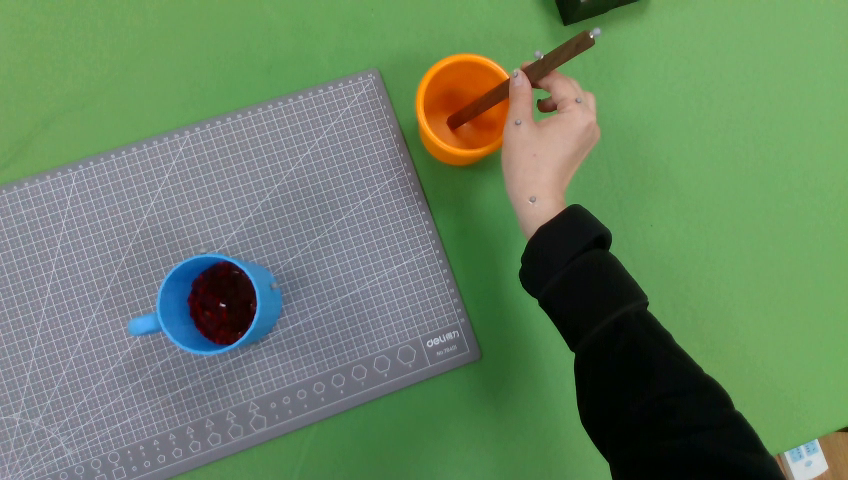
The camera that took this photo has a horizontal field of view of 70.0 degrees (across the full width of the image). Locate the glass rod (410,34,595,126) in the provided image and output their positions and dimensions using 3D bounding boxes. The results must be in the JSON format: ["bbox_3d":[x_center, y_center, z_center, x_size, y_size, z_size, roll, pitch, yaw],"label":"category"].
[{"bbox_3d":[0.057,-0.132,0.520,0.008,0.199,0.008,14,69,-42],"label":"glass rod"}]

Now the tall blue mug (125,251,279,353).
[{"bbox_3d":[-0.180,0.061,0.507,0.107,0.108,0.078,-43,91,-7],"label":"tall blue mug"}]
